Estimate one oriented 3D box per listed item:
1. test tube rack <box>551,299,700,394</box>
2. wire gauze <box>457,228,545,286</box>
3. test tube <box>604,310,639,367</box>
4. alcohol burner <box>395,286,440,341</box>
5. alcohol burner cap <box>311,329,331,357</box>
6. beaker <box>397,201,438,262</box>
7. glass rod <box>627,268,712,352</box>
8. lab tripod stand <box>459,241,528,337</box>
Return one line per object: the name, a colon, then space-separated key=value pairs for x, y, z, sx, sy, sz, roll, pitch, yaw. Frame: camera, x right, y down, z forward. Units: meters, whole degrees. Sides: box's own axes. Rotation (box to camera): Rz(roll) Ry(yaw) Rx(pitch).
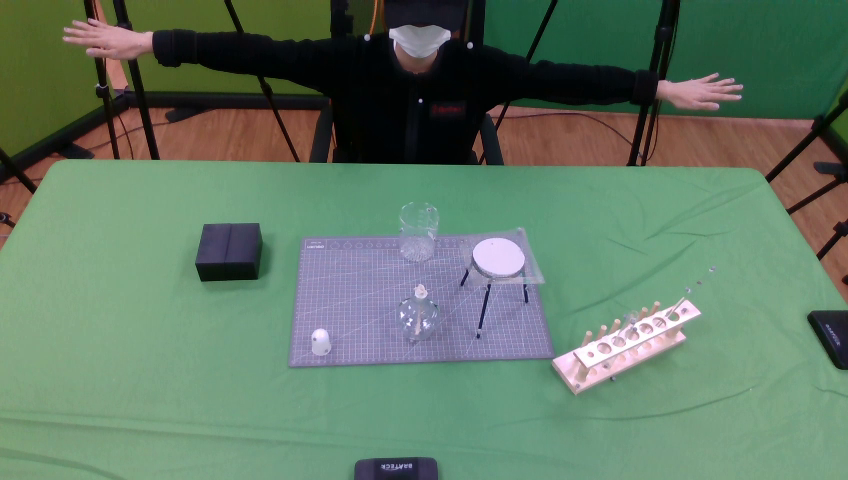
test tube rack: x=0.339 y=0.166 z=1.021 sx=0.242 sy=0.085 sz=0.066 roll=-19 pitch=50 yaw=-21
wire gauze: x=0.126 y=0.028 z=1.006 sx=0.125 sy=0.011 sz=0.120 roll=-4 pitch=46 yaw=-9
test tube: x=0.310 y=0.158 z=0.957 sx=0.017 sy=0.151 sz=0.017 roll=1 pitch=49 yaw=-1
alcohol burner: x=-0.010 y=0.116 z=1.018 sx=0.078 sy=0.119 sz=0.077 roll=3 pitch=47 yaw=-3
alcohol burner cap: x=-0.173 y=0.168 z=1.005 sx=0.034 sy=0.048 sz=0.033 roll=2 pitch=46 yaw=-2
beaker: x=-0.012 y=-0.011 z=1.152 sx=0.083 sy=0.101 sz=0.074 roll=35 pitch=53 yaw=25
glass rod: x=0.399 y=0.117 z=0.995 sx=0.008 sy=0.200 sz=0.008 roll=26 pitch=29 yaw=-15
lab tripod stand: x=0.122 y=0.075 z=1.054 sx=0.148 sy=0.132 sz=0.147 roll=3 pitch=44 yaw=-3
